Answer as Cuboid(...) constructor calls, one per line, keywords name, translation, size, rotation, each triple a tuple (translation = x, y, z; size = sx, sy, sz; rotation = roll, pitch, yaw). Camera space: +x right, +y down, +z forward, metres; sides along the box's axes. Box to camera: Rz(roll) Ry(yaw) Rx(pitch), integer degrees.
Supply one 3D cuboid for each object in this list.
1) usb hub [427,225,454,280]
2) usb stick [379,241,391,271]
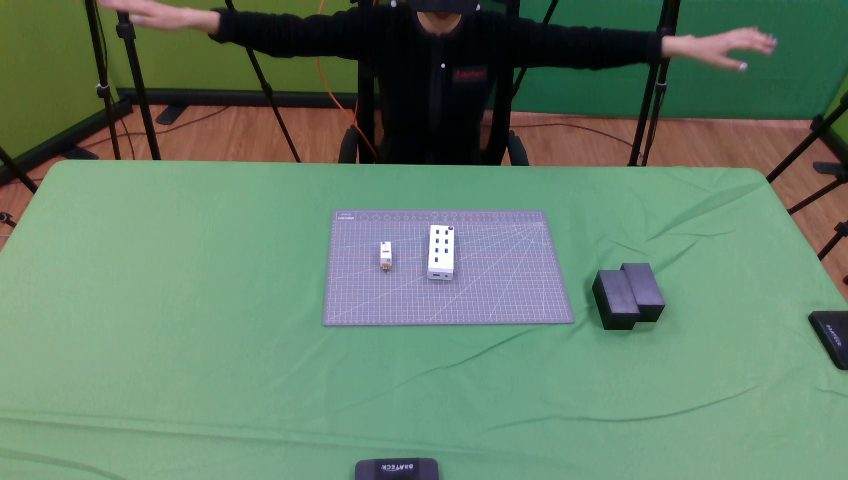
Cuboid(name="usb hub", translation=(0.033, 0.022, 1.174), size=(0.049, 0.025, 0.124), rotation=(4, 46, 0))
Cuboid(name="usb stick", translation=(-0.074, 0.031, 1.156), size=(0.021, 0.027, 0.059), rotation=(1, 49, -5))
